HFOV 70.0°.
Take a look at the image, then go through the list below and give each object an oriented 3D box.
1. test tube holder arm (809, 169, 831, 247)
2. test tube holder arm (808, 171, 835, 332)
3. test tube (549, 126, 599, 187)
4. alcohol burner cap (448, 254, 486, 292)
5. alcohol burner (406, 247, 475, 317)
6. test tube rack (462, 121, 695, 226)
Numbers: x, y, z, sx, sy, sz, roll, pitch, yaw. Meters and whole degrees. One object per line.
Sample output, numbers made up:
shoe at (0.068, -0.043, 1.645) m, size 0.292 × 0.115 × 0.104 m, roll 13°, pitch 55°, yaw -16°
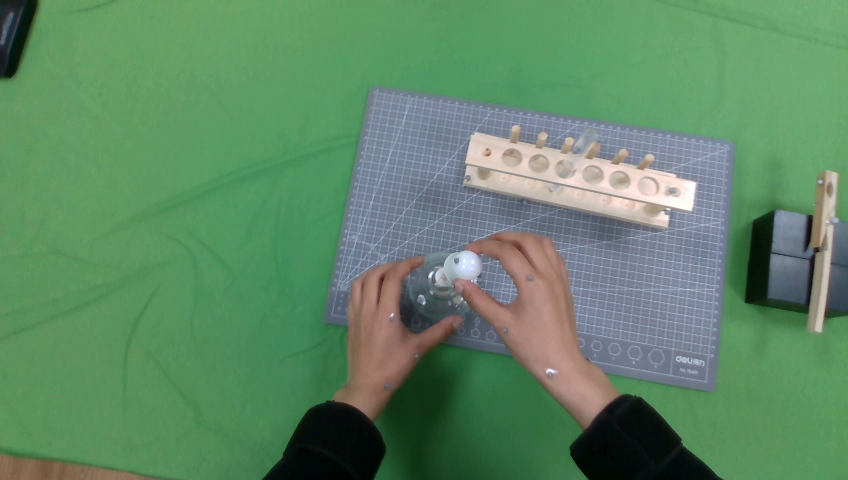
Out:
test tube holder arm at (0.433, -0.034, 0.662) m, size 0.010 × 0.015 × 0.087 m, roll 12°, pitch 80°, yaw -4°
test tube holder arm at (0.430, 0.011, 0.655) m, size 0.013 × 0.015 × 0.178 m, roll 11°, pitch 80°, yaw -5°
test tube at (0.154, -0.084, 0.634) m, size 0.017 × 0.151 × 0.017 m, roll 0°, pitch 77°, yaw -1°
alcohol burner cap at (0.037, 0.029, 0.559) m, size 0.034 × 0.048 × 0.033 m, roll -3°, pitch 78°, yaw 15°
alcohol burner at (0.019, 0.042, 0.649) m, size 0.078 × 0.119 × 0.077 m, roll 0°, pitch 78°, yaw -1°
test tube rack at (0.170, -0.082, 0.685) m, size 0.242 × 0.085 × 0.066 m, roll 13°, pitch 80°, yaw 3°
